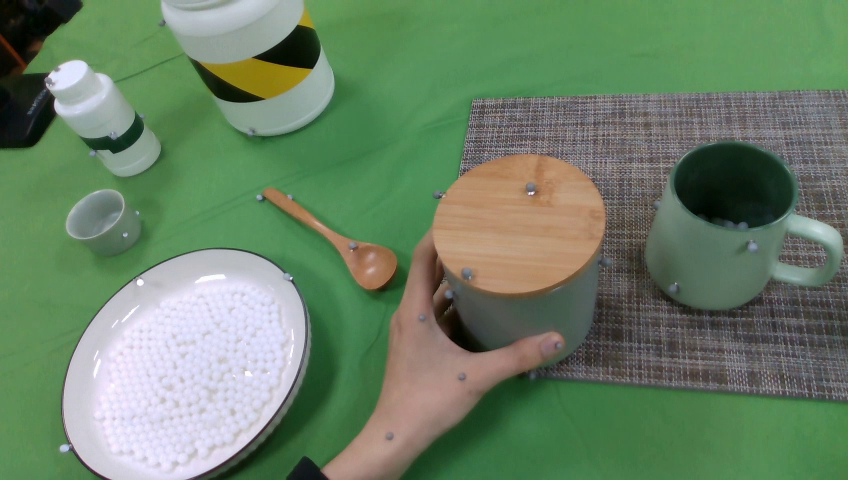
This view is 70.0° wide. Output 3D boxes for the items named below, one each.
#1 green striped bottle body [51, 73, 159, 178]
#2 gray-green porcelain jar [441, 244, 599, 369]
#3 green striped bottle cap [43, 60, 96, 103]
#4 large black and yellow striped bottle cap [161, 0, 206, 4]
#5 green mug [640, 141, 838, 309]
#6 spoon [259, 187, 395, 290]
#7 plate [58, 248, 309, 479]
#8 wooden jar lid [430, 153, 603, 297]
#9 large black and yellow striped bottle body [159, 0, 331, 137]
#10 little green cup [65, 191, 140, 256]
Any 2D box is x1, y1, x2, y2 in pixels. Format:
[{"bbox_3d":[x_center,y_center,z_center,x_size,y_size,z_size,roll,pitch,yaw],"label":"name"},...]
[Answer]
[{"bbox_3d":[-0.339,-0.126,0.637,0.063,0.120,0.062,-6,55,9],"label":"green striped bottle body"},{"bbox_3d":[0.069,0.027,0.437,0.106,0.128,0.105,-6,55,8],"label":"gray-green porcelain jar"},{"bbox_3d":[-0.348,-0.156,0.595,0.044,0.020,0.044,-4,57,6],"label":"green striped bottle cap"},{"bbox_3d":[-0.199,-0.257,0.553,0.115,0.019,0.114,-6,54,8],"label":"large black and yellow striped bottle cap"},{"bbox_3d":[0.225,-0.003,0.437,0.124,0.106,0.092,21,63,24],"label":"green mug"},{"bbox_3d":[-0.097,-0.010,0.566,0.192,0.022,0.041,33,86,29],"label":"spoon"},{"bbox_3d":[-0.192,0.101,0.502,0.209,0.038,0.207,-5,55,8],"label":"plate"},{"bbox_3d":[0.058,-0.009,0.386,0.108,0.021,0.107,-8,55,12],"label":"wooden jar lid"},{"bbox_3d":[-0.183,-0.212,0.622,0.130,0.186,0.129,-6,55,9],"label":"large black and yellow striped bottle body"},{"bbox_3d":[-0.320,-0.015,0.607,0.061,0.039,0.061,-6,54,8],"label":"little green cup"}]
